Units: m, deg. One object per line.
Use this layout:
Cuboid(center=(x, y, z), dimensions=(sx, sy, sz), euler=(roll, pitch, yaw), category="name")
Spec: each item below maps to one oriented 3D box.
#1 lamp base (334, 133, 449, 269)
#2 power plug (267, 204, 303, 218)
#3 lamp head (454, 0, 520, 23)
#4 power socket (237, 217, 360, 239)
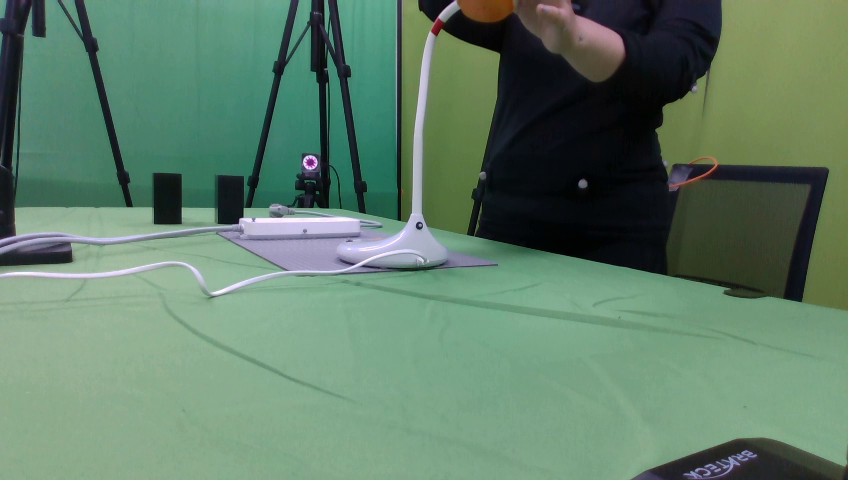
Cuboid(center=(-0.034, -0.057, 0.831), dimensions=(0.161, 0.180, 0.178), euler=(-2, 11, -36), category="lamp base")
Cuboid(center=(-0.327, -0.059, 1.404), dimensions=(0.073, 0.035, 0.052), euler=(22, -14, -26), category="power plug")
Cuboid(center=(0.073, -0.318, 0.706), dimensions=(0.112, 0.122, 0.112), euler=(8, -3, 1), category="lamp head")
Cuboid(center=(-0.221, -0.023, 1.080), dimensions=(0.228, 0.032, 0.072), euler=(-2, 8, -33), category="power socket")
